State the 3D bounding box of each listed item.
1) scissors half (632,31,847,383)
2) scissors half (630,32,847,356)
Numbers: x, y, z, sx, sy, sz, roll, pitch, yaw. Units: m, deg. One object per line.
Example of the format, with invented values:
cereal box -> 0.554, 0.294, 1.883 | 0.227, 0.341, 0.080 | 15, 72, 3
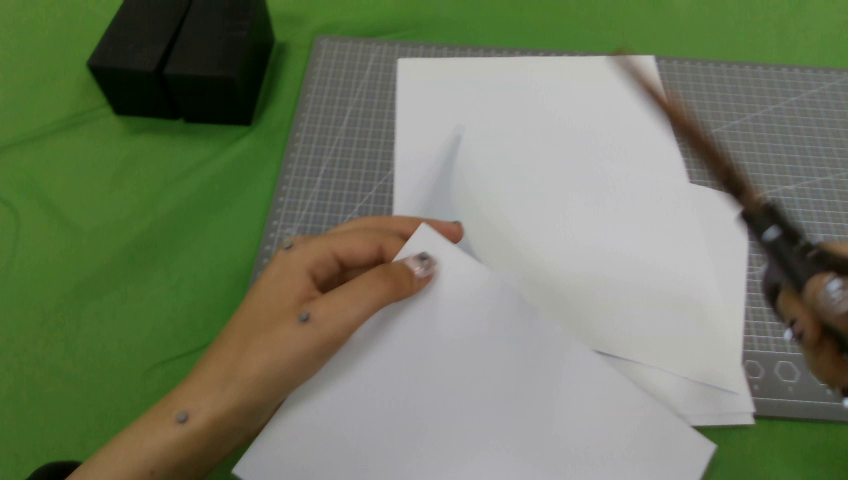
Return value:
scissors half -> 0.135, -0.014, 0.256 | 0.013, 0.040, 0.175 | -33, 95, -2
scissors half -> 0.135, -0.015, 0.236 | 0.013, 0.040, 0.174 | -34, 78, -7
